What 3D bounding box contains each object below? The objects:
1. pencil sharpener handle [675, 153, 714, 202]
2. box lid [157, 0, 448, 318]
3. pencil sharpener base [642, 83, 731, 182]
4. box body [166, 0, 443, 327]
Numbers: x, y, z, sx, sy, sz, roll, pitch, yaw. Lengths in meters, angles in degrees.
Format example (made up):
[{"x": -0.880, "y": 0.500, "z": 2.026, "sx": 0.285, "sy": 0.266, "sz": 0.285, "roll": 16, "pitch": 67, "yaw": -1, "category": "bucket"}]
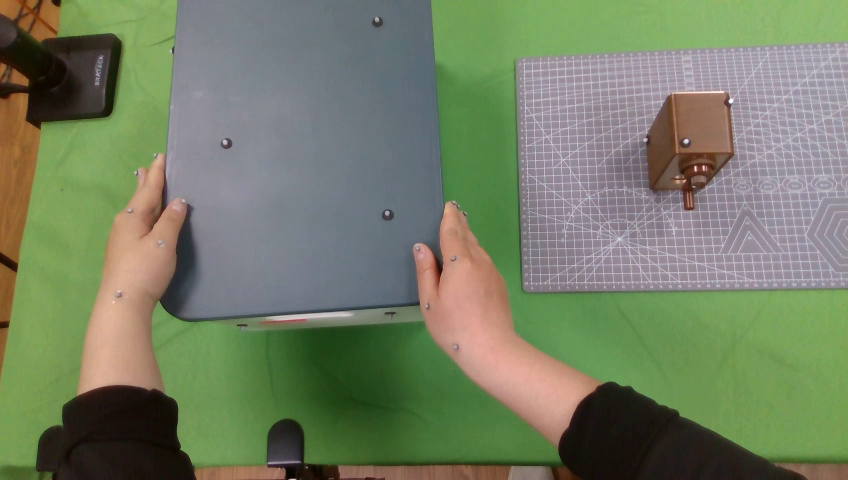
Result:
[{"x": 0.278, "y": -0.063, "z": 0.628, "sx": 0.036, "sy": 0.068, "sz": 0.030, "roll": -2, "pitch": 75, "yaw": 12, "category": "pencil sharpener handle"}, {"x": -0.118, "y": -0.116, "z": 0.582, "sx": 0.263, "sy": 0.015, "sz": 0.369, "roll": -5, "pitch": 74, "yaw": 2, "category": "box lid"}, {"x": 0.279, "y": -0.109, "z": 0.652, "sx": 0.061, "sy": 0.107, "sz": 0.076, "roll": -1, "pitch": 76, "yaw": 6, "category": "pencil sharpener base"}, {"x": -0.113, "y": -0.091, "z": 0.663, "sx": 0.254, "sy": 0.161, "sz": 0.362, "roll": -4, "pitch": 75, "yaw": 5, "category": "box body"}]
